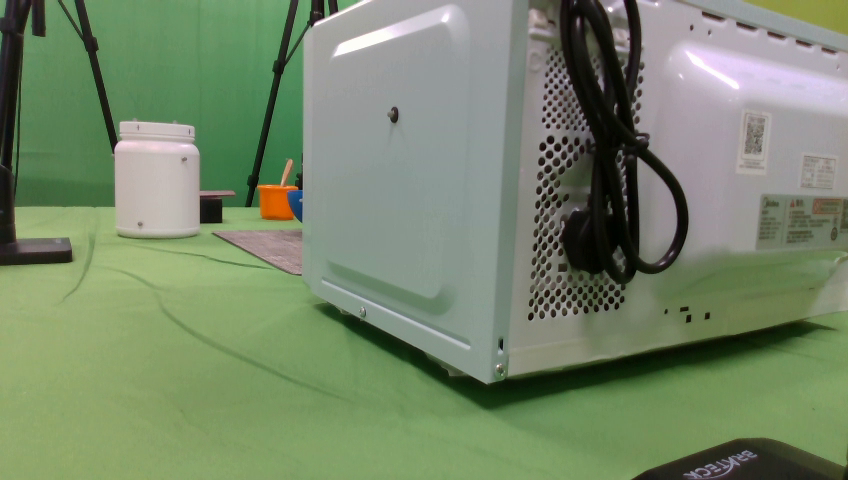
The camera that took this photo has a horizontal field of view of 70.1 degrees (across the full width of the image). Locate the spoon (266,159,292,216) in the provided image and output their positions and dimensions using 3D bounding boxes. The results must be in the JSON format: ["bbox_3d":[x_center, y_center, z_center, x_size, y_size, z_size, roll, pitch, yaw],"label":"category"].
[{"bbox_3d":[-0.334,-0.127,1.424,0.041,0.193,0.022,0,-37,7],"label":"spoon"}]

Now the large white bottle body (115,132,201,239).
[{"bbox_3d":[-0.447,-0.100,1.020,0.131,0.184,0.130,3,7,0],"label":"large white bottle body"}]

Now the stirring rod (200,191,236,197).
[{"bbox_3d":[-0.466,-0.098,1.283,0.014,0.006,0.177,41,21,17],"label":"stirring rod"}]

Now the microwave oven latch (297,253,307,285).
[{"bbox_3d":[-0.082,0.027,0.583,0.079,0.029,0.030,-1,8,-33],"label":"microwave oven latch"}]

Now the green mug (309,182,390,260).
[{"bbox_3d":[-0.102,-0.029,0.864,0.126,0.105,0.092,-3,9,-40],"label":"green mug"}]

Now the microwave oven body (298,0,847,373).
[{"bbox_3d":[0.151,-0.055,0.543,0.444,0.260,0.324,-1,7,-33],"label":"microwave oven body"}]

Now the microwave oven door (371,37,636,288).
[{"bbox_3d":[0.109,-0.080,0.687,0.358,0.243,0.039,-2,9,-33],"label":"microwave oven door"}]

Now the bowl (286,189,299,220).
[{"bbox_3d":[-0.179,-0.051,1.115,0.151,0.077,0.151,3,8,0],"label":"bowl"}]

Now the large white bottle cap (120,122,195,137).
[{"bbox_3d":[-0.444,-0.183,1.010,0.115,0.018,0.115,2,7,0],"label":"large white bottle cap"}]
